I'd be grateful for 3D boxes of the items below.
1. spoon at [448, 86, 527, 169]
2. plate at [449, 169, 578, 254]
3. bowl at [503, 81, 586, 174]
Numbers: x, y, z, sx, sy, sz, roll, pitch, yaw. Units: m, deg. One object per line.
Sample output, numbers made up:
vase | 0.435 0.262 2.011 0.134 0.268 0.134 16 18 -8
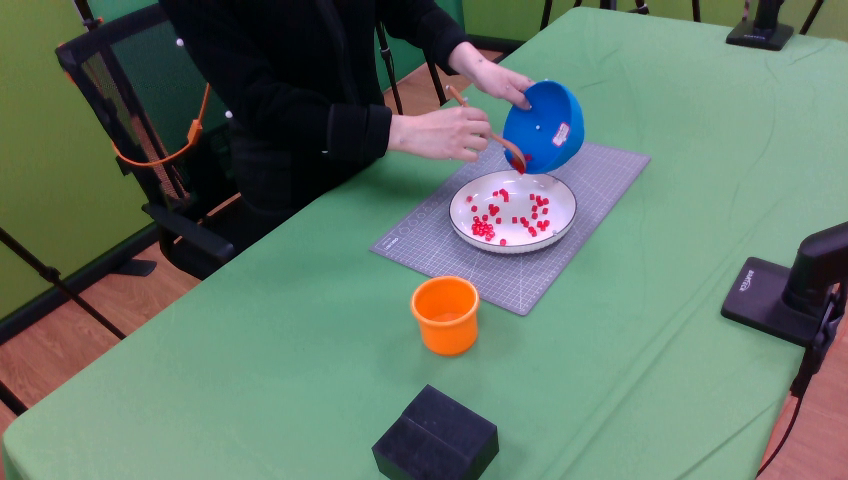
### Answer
spoon | 0.100 -0.170 0.927 0.021 0.195 0.041 -48 33 12
plate | 0.146 -0.044 0.993 0.209 0.038 0.208 -5 40 5
bowl | 0.208 -0.174 0.982 0.077 0.151 0.150 9 27 -36
